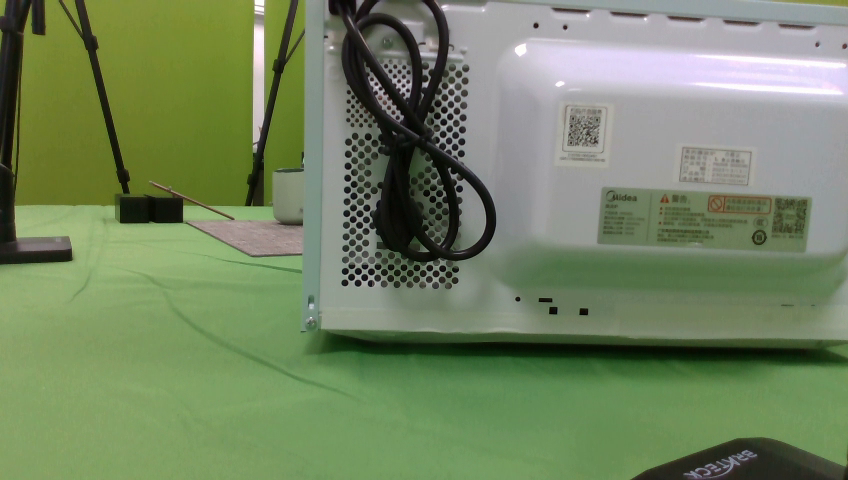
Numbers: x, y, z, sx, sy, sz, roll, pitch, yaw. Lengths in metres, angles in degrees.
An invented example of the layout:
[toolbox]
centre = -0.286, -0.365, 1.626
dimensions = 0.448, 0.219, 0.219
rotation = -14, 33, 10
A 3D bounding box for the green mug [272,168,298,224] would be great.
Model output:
[green mug]
centre = -0.253, -0.094, 1.249
dimensions = 0.126, 0.105, 0.092
rotation = -13, 18, -40

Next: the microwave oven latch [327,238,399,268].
[microwave oven latch]
centre = -0.069, 0.015, 0.694
dimensions = 0.079, 0.029, 0.030
rotation = 3, 7, -3

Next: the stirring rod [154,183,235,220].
[stirring rod]
centre = -0.472, -0.079, 1.252
dimensions = 0.177, 0.006, 0.014
rotation = 27, 4, -35

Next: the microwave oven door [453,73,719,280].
[microwave oven door]
centre = 0.195, -0.091, 0.815
dimensions = 0.354, 0.243, 0.039
rotation = 8, 8, 39

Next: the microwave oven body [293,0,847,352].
[microwave oven body]
centre = 0.122, -0.055, 0.550
dimensions = 0.442, 0.260, 0.325
rotation = 3, 7, -5
